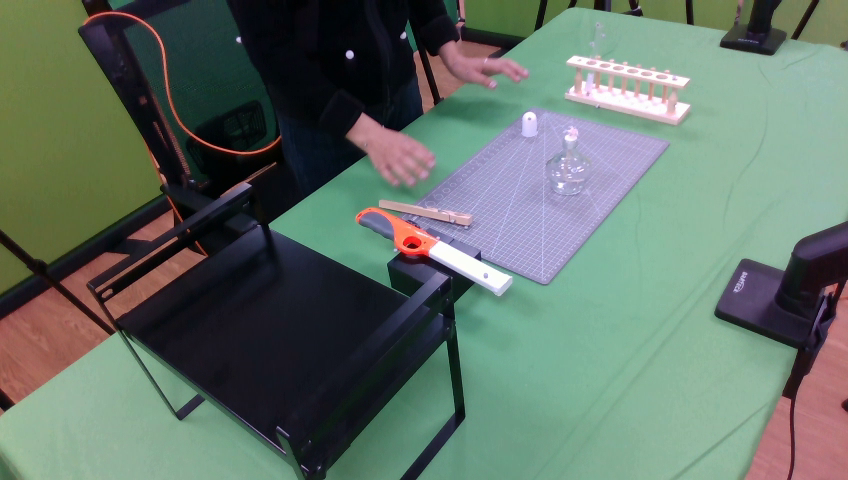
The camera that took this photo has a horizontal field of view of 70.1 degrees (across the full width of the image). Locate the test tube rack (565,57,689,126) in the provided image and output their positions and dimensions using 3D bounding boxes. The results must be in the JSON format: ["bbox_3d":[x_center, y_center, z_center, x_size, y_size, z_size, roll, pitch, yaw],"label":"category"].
[{"bbox_3d":[0.411,-0.311,1.230,0.240,0.085,0.067,23,49,32],"label":"test tube rack"}]

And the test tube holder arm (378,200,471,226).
[{"bbox_3d":[-0.002,-0.047,1.031,0.177,0.015,0.013,12,21,25],"label":"test tube holder arm"}]

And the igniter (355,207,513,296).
[{"bbox_3d":[0.006,0.010,0.885,0.274,0.025,0.057,27,53,30],"label":"igniter"}]

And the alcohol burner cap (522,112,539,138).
[{"bbox_3d":[0.210,-0.230,1.195,0.034,0.048,0.033,-5,41,5],"label":"alcohol burner cap"}]

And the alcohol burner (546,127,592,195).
[{"bbox_3d":[0.246,-0.137,1.024,0.078,0.119,0.077,-4,38,4],"label":"alcohol burner"}]

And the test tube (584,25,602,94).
[{"bbox_3d":[0.341,-0.362,1.224,0.017,0.151,0.017,-2,45,2],"label":"test tube"}]

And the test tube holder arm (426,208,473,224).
[{"bbox_3d":[0.041,-0.041,1.016,0.087,0.015,0.010,12,21,26],"label":"test tube holder arm"}]
